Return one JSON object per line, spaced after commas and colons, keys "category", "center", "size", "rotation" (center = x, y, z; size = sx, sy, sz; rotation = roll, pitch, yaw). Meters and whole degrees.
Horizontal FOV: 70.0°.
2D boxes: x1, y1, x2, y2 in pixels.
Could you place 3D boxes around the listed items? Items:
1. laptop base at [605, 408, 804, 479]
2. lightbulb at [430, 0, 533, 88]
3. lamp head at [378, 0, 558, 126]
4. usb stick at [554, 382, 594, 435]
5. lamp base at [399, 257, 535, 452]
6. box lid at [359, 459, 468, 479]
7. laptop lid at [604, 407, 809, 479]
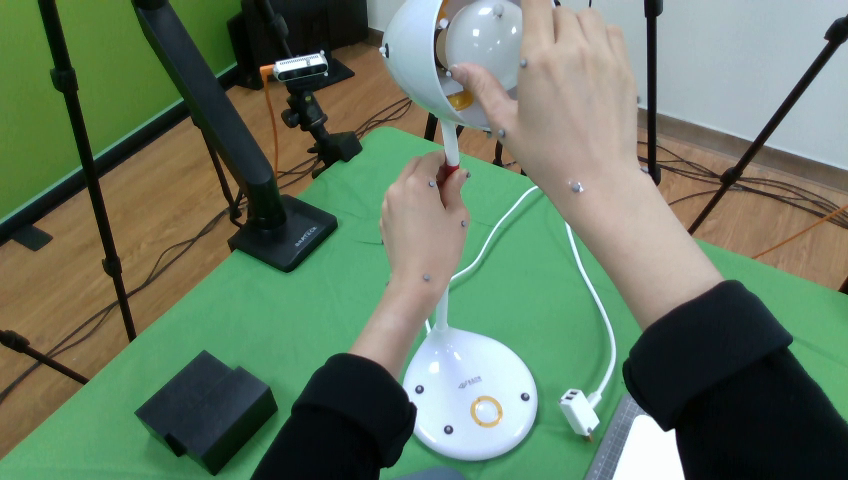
{"category": "laptop base", "center": [0.334, 0.330, 0.574], "size": [0.352, 0.023, 0.234], "rotation": [21, 55, 19]}
{"category": "lightbulb", "center": [0.031, -0.138, 0.423], "size": [0.059, 0.060, 0.106], "rotation": [-25, 26, -20]}
{"category": "lamp head", "center": [0.021, -0.142, 0.452], "size": [0.112, 0.113, 0.122], "rotation": [-30, 23, -24]}
{"category": "usb stick", "center": [0.173, 0.192, 0.684], "size": [0.027, 0.059, 0.021], "rotation": [-34, 13, -32]}
{"category": "lamp base", "center": [0.041, 0.115, 0.668], "size": [0.161, 0.182, 0.177], "rotation": [-29, 50, -23]}
{"category": "box lid", "center": [-0.040, 0.390, 0.531], "size": [0.264, 0.015, 0.367], "rotation": [-12, 49, -10]}
{"category": "laptop lid", "center": [0.332, 0.323, 0.564], "size": [0.354, 0.013, 0.241], "rotation": [23, 54, 21]}
